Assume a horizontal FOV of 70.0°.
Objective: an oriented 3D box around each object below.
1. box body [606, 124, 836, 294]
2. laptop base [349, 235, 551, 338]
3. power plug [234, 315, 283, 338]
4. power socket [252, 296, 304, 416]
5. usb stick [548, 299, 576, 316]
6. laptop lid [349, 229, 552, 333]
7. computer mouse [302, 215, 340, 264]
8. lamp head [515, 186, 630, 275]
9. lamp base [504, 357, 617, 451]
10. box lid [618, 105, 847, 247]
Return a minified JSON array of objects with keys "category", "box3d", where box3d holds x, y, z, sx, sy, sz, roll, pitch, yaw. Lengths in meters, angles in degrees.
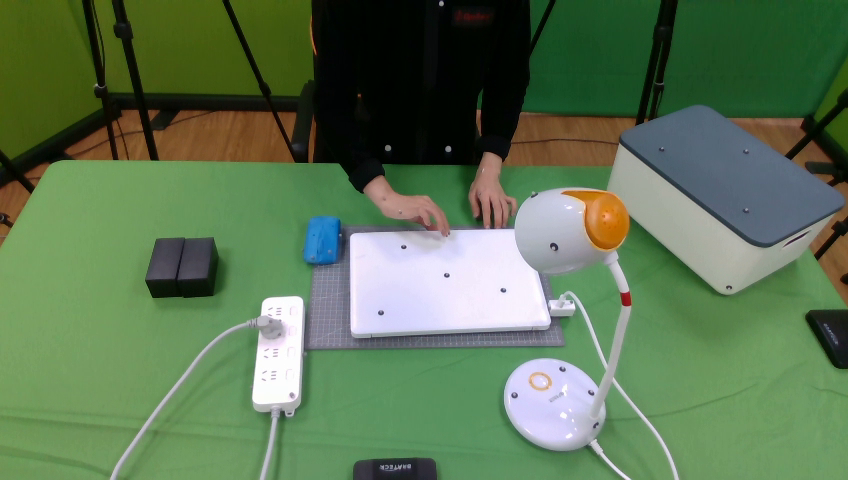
[{"category":"box body","box3d":[0.584,-0.088,1.230,0.254,0.161,0.361,-22,52,-23]},{"category":"laptop base","box3d":[0.039,0.081,1.125,0.355,0.023,0.234,-2,43,-6]},{"category":"power plug","box3d":[-0.269,0.143,1.000,0.072,0.053,0.035,4,47,3]},{"category":"power socket","box3d":[-0.238,0.181,0.997,0.072,0.033,0.225,-3,47,-5]},{"category":"usb stick","box3d":[0.239,0.121,1.084,0.059,0.027,0.021,-1,51,-1]},{"category":"laptop lid","box3d":[0.040,0.067,1.112,0.357,0.013,0.240,0,48,-5]},{"category":"computer mouse","box3d":[-0.198,-0.004,1.172,0.063,0.041,0.116,4,50,-3]},{"category":"lamp head","box3d":[0.188,-0.013,0.728,0.112,0.112,0.122,-25,9,-25]},{"category":"lamp base","box3d":[0.220,0.211,0.903,0.160,0.181,0.178,-33,59,-30]},{"category":"box lid","box3d":[0.587,-0.138,1.175,0.263,0.015,0.369,-22,50,-22]}]
